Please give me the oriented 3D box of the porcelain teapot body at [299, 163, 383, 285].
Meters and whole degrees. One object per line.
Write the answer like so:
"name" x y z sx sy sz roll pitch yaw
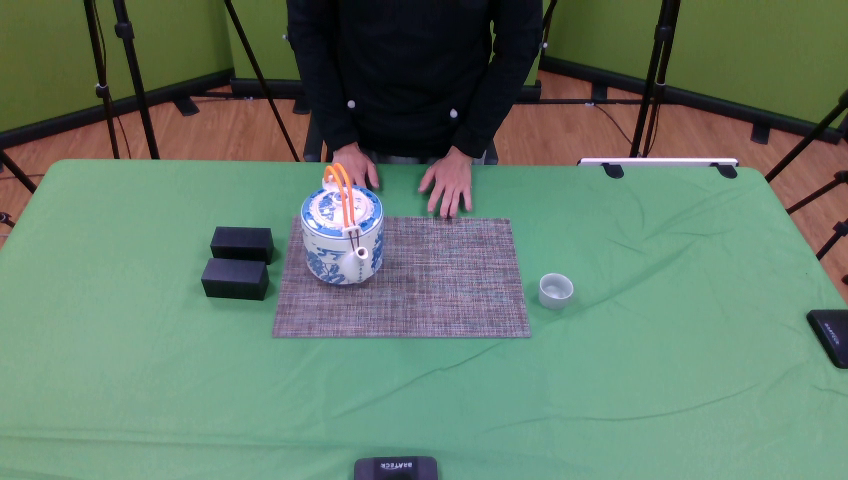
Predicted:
"porcelain teapot body" -0.134 -0.014 1.057 0.145 0.226 0.204 -16 50 -19

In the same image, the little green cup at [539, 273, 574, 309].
"little green cup" 0.240 0.096 1.113 0.061 0.039 0.061 2 47 -2

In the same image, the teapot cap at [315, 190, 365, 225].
"teapot cap" -0.145 -0.061 1.046 0.085 0.044 0.084 1 49 -1
